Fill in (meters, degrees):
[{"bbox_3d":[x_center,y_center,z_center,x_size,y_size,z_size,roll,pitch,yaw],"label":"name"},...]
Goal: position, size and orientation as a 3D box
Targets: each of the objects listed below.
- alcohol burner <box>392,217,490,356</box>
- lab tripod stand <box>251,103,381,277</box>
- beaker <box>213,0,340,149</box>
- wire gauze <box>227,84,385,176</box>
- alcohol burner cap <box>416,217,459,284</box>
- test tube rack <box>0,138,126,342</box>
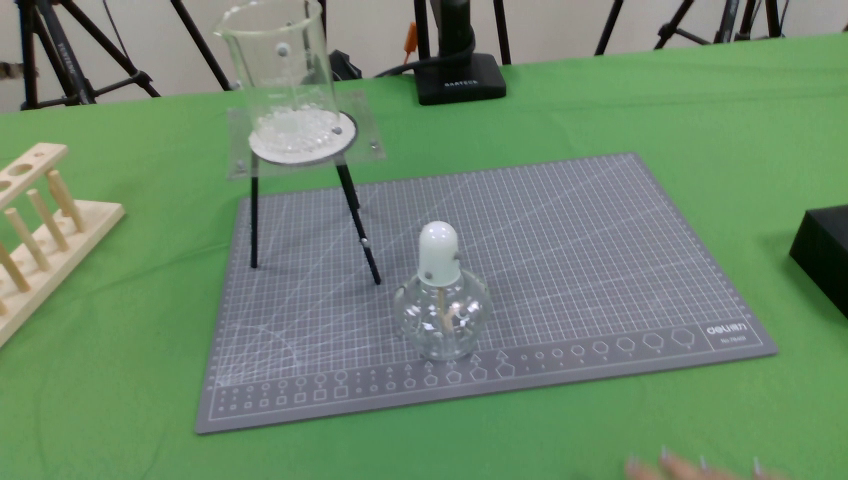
[{"bbox_3d":[0.013,0.033,0.466,0.078,0.120,0.077,-3,39,3],"label":"alcohol burner"},{"bbox_3d":[-0.098,-0.043,0.548,0.148,0.133,0.147,-3,43,3],"label":"lab tripod stand"},{"bbox_3d":[-0.109,-0.129,0.473,0.084,0.101,0.073,-11,41,-7],"label":"beaker"},{"bbox_3d":[-0.102,-0.093,0.505,0.125,0.011,0.120,-13,39,-5],"label":"wire gauze"},{"bbox_3d":[0.010,0.006,0.442,0.034,0.048,0.033,-1,38,1],"label":"alcohol burner cap"},{"bbox_3d":[-0.385,0.008,0.552,0.066,0.086,0.240,6,41,11],"label":"test tube rack"}]
